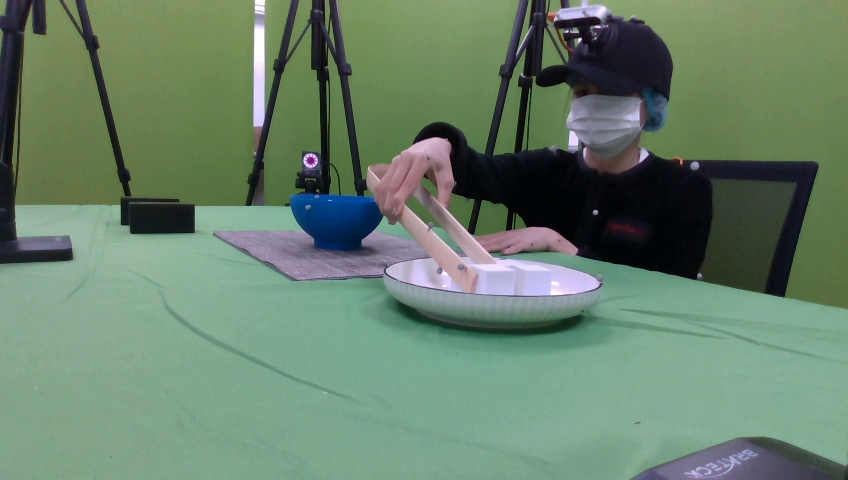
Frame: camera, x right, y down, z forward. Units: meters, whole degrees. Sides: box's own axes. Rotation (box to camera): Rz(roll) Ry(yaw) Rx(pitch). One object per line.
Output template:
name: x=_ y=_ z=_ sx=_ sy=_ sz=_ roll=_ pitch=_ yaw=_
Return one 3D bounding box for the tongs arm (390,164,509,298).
tongs arm: x=0.018 y=-0.028 z=0.712 sx=0.028 sy=0.028 sz=0.386 roll=-5 pitch=23 yaw=-15

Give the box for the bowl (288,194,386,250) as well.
bowl: x=-0.135 y=-0.027 z=0.936 sx=0.151 sy=0.077 sz=0.151 roll=3 pitch=7 yaw=0

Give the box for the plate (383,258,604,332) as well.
plate: x=0.064 y=0.051 z=0.582 sx=0.209 sy=0.038 sz=0.209 roll=3 pitch=7 yaw=0

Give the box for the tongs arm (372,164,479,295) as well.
tongs arm: x=-0.003 y=-0.027 z=0.705 sx=0.051 sy=0.026 sz=0.383 roll=-4 pitch=23 yaw=-21
